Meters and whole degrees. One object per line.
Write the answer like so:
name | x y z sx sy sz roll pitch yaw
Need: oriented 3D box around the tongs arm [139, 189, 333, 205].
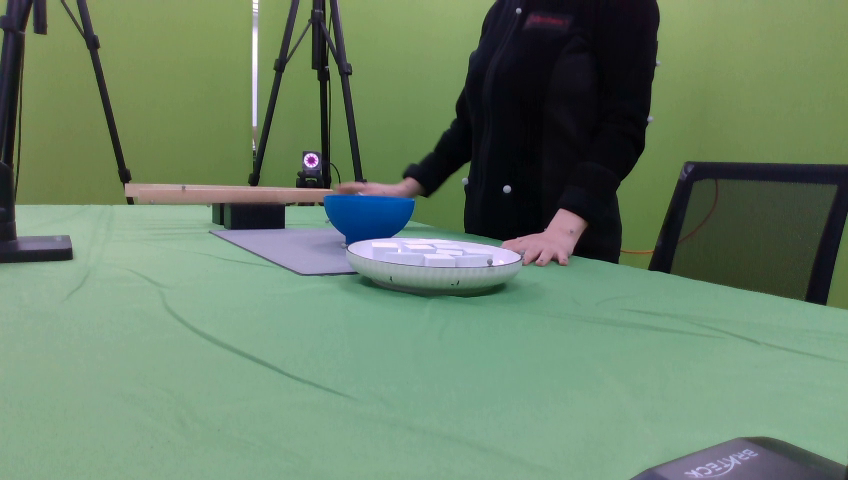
tongs arm | -0.336 -0.083 1.146 0.387 0.026 0.050 -3 9 -38

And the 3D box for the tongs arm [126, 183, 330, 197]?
tongs arm | -0.380 -0.095 1.211 0.389 0.028 0.028 -1 4 -25

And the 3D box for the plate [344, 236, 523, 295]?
plate | 0.010 0.030 0.707 0.208 0.039 0.207 3 8 0

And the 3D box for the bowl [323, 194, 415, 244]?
bowl | -0.091 -0.032 0.986 0.151 0.077 0.151 2 7 0
